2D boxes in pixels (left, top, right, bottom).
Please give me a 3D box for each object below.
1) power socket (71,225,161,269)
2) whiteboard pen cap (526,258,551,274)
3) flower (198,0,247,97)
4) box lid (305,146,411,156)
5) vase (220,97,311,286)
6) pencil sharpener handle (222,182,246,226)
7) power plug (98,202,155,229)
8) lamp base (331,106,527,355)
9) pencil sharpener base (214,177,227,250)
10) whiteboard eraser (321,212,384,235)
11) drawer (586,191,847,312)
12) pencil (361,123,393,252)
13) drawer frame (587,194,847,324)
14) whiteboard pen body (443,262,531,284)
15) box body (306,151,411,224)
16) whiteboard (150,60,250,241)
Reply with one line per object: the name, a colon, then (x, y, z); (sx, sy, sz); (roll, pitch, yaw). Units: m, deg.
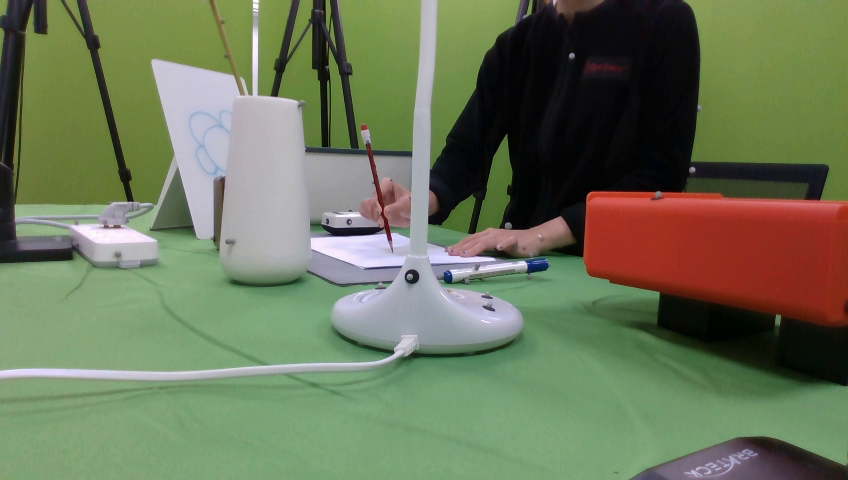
power socket: (-0.408, 0.004, 0.793); (0.072, 0.032, 0.225); (-2, 8, -38)
whiteboard pen cap: (0.141, 0.033, 0.759); (0.033, 0.018, 0.018); (-7, 11, -26)
flower: (-0.187, -0.133, 0.648); (0.038, 0.362, 0.044); (-1, 22, 43)
box lid: (-0.229, -0.200, 1.360); (0.373, 0.015, 0.262); (-3, 9, -33)
vase: (-0.172, -0.052, 0.662); (0.098, 0.200, 0.098); (3, 8, 0)
pencil sharpener handle: (-0.289, -0.055, 0.912); (0.036, 0.067, 0.030); (-3, 9, -29)
power plug: (-0.416, -0.027, 0.848); (0.073, 0.052, 0.035); (0, 8, -28)
lamp base: (0.006, -0.012, 0.478); (0.161, 0.180, 0.179); (2, 10, 2)
pencil sharpener base: (-0.265, -0.036, 0.870); (0.061, 0.107, 0.076); (-2, 8, -29)
whiteboard eraser: (-0.128, -0.031, 1.108); (0.113, 0.042, 0.055); (-3, 7, -38)
drawer: (0.281, 0.001, 0.513); (0.195, 0.073, 0.210); (-1, 8, -29)
pencil: (-0.067, -0.076, 0.887); (0.012, 0.194, 0.012); (-12, 6, 2)
drawer frame: (0.286, 0.004, 0.508); (0.203, 0.082, 0.212); (-1, 6, -30)
whiteboard pen body: (0.087, 0.038, 0.734); (0.141, 0.017, 0.017); (-5, 10, -27)
box body: (-0.230, -0.126, 1.371); (0.366, 0.160, 0.253); (-2, 8, -33)
whiteboard: (-0.408, -0.139, 1.093); (0.143, 0.305, 0.218); (-15, -1, 26)
